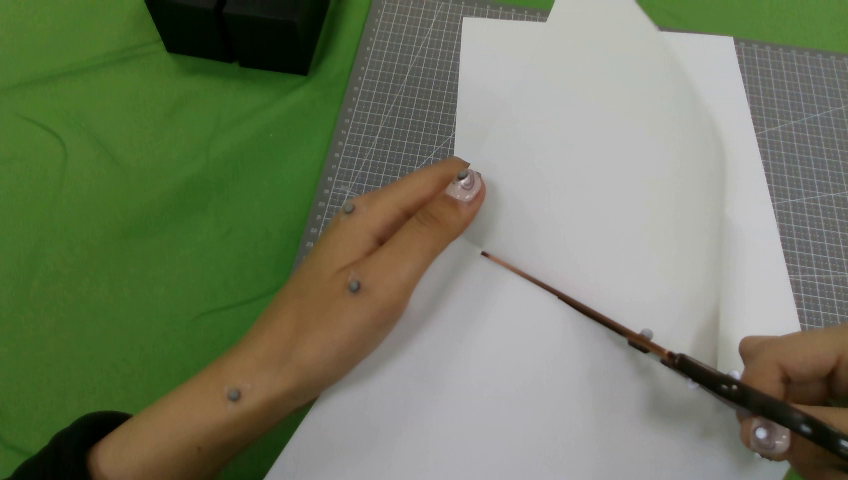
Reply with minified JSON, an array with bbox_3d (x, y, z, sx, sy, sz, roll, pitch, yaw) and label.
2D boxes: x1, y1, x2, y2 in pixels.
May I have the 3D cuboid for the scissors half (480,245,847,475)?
[{"bbox_3d":[0.097,0.045,0.238,0.174,0.040,0.013,30,88,15],"label":"scissors half"}]

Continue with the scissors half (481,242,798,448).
[{"bbox_3d":[0.100,0.046,0.258,0.175,0.040,0.013,31,93,-1],"label":"scissors half"}]
